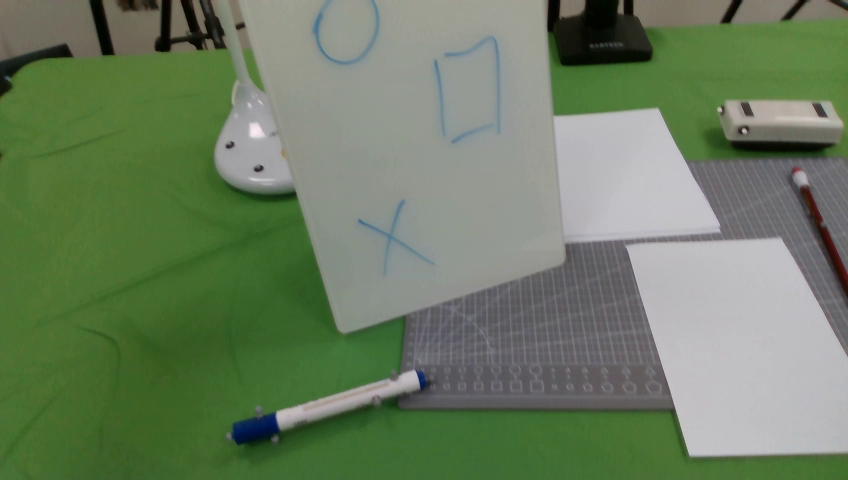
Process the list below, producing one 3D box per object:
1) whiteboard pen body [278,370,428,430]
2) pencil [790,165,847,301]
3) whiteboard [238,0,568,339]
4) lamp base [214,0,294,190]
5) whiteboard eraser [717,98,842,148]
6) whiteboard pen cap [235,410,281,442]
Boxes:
[{"bbox_3d":[-0.065,0.125,0.462,0.141,0.017,0.017,-14,45,-10],"label":"whiteboard pen body"},{"bbox_3d":[0.367,-0.004,0.554,0.012,0.012,0.192,2,48,8],"label":"pencil"},{"bbox_3d":[-0.015,-0.106,0.529,0.217,0.308,0.142,-16,27,-9],"label":"whiteboard"},{"bbox_3d":[-0.178,-0.172,0.658,0.177,0.182,0.160,31,56,34],"label":"lamp base"},{"bbox_3d":[0.381,-0.126,0.656,0.112,0.042,0.055,3,46,9],"label":"whiteboard eraser"},{"bbox_3d":[-0.122,0.138,0.451,0.033,0.018,0.018,-13,45,-13],"label":"whiteboard pen cap"}]
